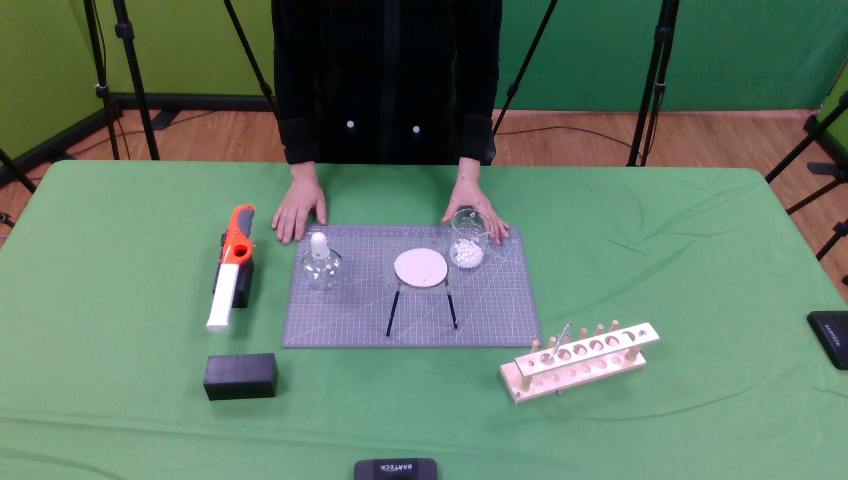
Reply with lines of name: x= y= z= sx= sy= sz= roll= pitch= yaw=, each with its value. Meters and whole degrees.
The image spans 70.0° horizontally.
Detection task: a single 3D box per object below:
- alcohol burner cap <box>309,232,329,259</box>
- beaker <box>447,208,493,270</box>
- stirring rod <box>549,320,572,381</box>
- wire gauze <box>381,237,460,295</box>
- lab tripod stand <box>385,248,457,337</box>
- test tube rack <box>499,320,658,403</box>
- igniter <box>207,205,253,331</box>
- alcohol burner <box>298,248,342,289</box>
alcohol burner cap: x=-0.185 y=0.008 z=1.058 sx=0.034 sy=0.048 sz=0.033 roll=0 pitch=43 yaw=1
beaker: x=0.084 y=0.001 z=1.147 sx=0.084 sy=0.101 sz=0.073 roll=16 pitch=47 yaw=9
stirring rod: x=0.202 y=0.168 z=0.901 sx=0.006 sy=0.177 sz=0.014 roll=-17 pitch=54 yaw=-11
wire gauze: x=-0.008 y=0.040 z=0.984 sx=0.125 sy=0.011 sz=0.120 roll=0 pitch=44 yaw=-4
lab tripod stand: x=-0.010 y=0.087 z=1.032 sx=0.148 sy=0.132 sz=0.147 roll=1 pitch=45 yaw=-1
test tube rack: x=0.252 y=0.187 z=0.994 sx=0.243 sy=0.085 sz=0.066 roll=-12 pitch=48 yaw=-15
igniter: x=-0.339 y=0.038 z=1.066 sx=0.057 sy=0.025 sz=0.274 roll=2 pitch=48 yaw=-6
alcohol burner: x=-0.187 y=0.032 z=1.084 sx=0.078 sy=0.120 sz=0.077 roll=1 pitch=46 yaw=-1
